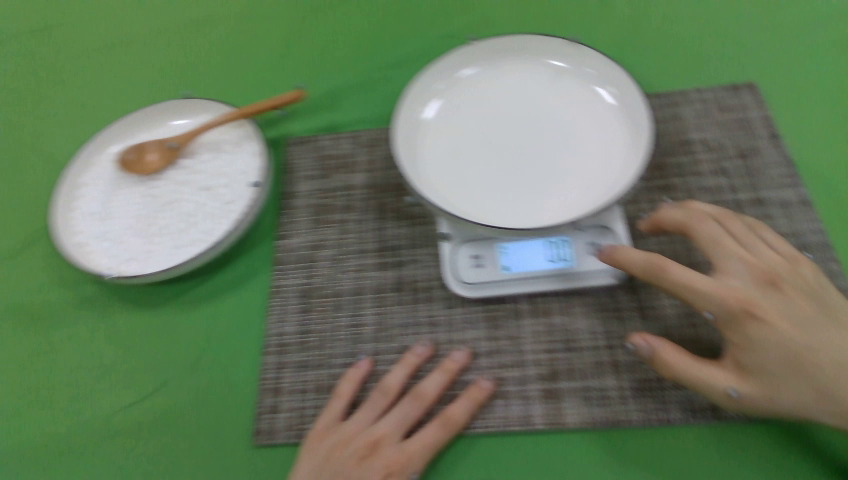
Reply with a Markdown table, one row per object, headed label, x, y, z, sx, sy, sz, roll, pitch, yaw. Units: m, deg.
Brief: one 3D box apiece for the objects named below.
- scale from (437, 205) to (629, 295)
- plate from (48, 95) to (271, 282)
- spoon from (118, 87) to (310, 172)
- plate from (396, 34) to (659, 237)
| label | x | y | z | sx | sy | sz | roll | pitch | yaw |
| --- | --- | --- | --- | --- | --- | --- | --- | --- | --- |
| scale | 0.083 | -0.051 | 0.516 | 0.148 | 0.032 | 0.199 | -6 | 58 | 6 |
| plate | -0.242 | -0.049 | 0.570 | 0.209 | 0.038 | 0.207 | -4 | 58 | 6 |
| spoon | -0.201 | -0.109 | 0.581 | 0.194 | 0.022 | 0.041 | -22 | 57 | 4 |
| plate | 0.082 | -0.086 | 0.499 | 0.207 | 0.039 | 0.205 | -4 | 58 | 6 |
